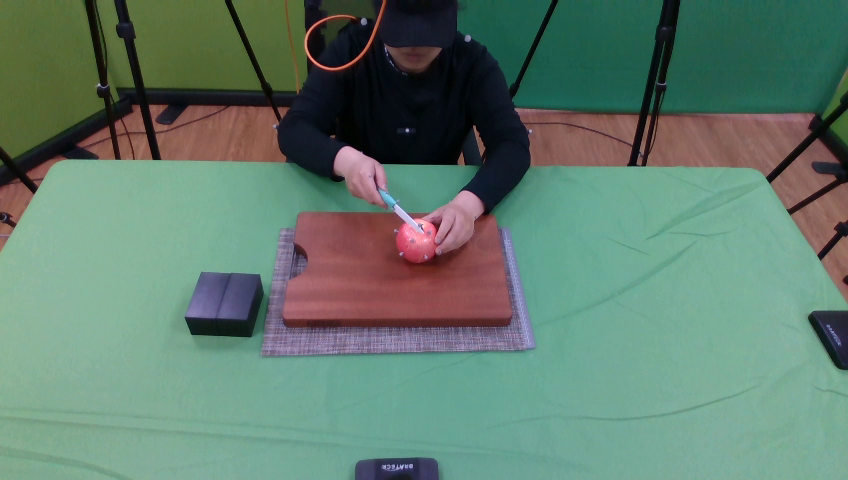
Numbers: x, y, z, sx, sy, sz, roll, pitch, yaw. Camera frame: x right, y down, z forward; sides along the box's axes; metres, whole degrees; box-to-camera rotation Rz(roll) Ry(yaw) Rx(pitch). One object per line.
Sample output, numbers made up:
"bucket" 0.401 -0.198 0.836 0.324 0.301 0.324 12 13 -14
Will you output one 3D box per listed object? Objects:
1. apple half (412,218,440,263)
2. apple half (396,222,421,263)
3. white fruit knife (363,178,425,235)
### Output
"apple half" 0.001 0.000 1.124 0.053 0.075 0.080 -13 44 -22
"apple half" -0.035 0.009 1.111 0.033 0.081 0.080 -13 48 -22
"white fruit knife" -0.056 -0.064 1.110 0.016 0.027 0.206 -26 46 -24
